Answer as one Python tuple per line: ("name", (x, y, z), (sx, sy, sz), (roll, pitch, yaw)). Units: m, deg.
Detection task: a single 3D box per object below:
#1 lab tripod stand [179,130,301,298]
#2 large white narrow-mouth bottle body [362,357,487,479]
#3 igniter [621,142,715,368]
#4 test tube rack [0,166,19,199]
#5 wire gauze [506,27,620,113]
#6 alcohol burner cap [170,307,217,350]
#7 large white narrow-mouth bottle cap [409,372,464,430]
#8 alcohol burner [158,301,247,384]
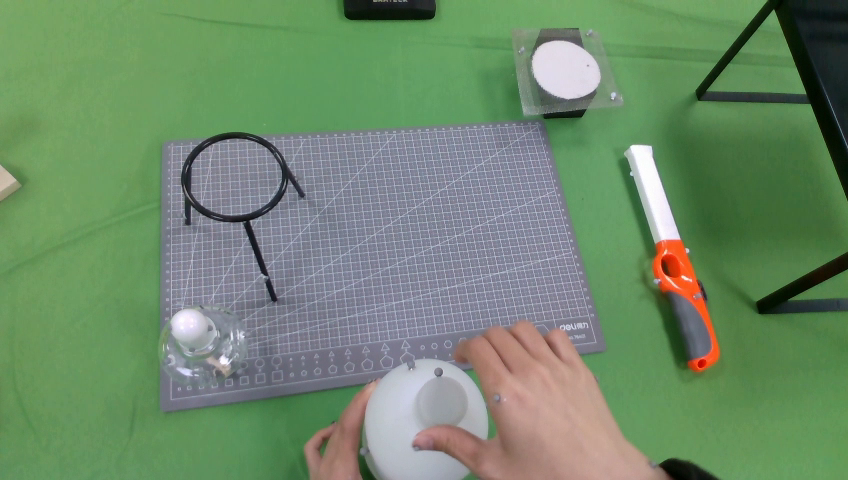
("lab tripod stand", (-0.172, -0.030, 0.587), (0.149, 0.132, 0.147), (4, 66, -8))
("large white narrow-mouth bottle body", (-0.001, 0.152, 0.501), (0.102, 0.196, 0.101), (3, 65, -5))
("igniter", (0.278, 0.009, 0.695), (0.057, 0.025, 0.274), (-1, 67, -20))
("test tube rack", (-0.523, -0.016, 0.560), (0.066, 0.085, 0.242), (40, 67, 10))
("wire gauze", (0.165, -0.209, 0.732), (0.122, 0.011, 0.124), (-4, 68, -9))
("alcohol burner cap", (-0.196, 0.073, 0.510), (0.034, 0.048, 0.033), (2, 72, -7))
("large white narrow-mouth bottle cap", (0.008, 0.111, 0.417), (0.038, 0.024, 0.037), (3, 66, -6))
("alcohol burner", (-0.201, 0.087, 0.543), (0.078, 0.120, 0.077), (4, 64, -8))
